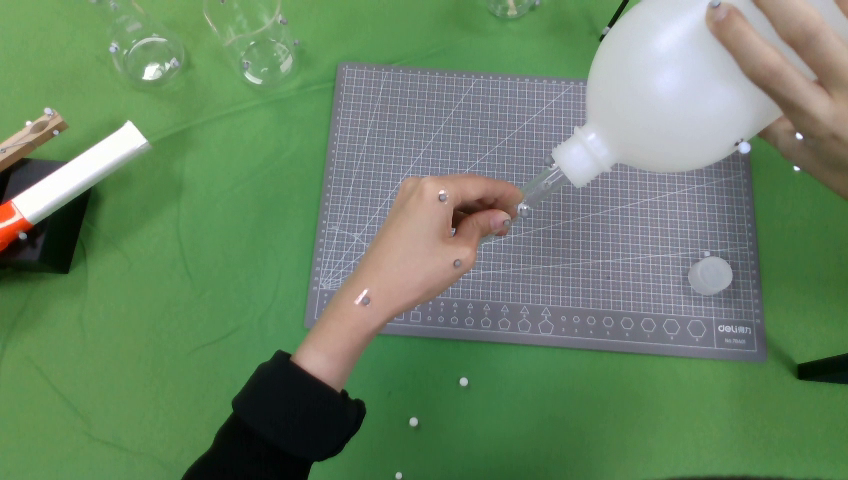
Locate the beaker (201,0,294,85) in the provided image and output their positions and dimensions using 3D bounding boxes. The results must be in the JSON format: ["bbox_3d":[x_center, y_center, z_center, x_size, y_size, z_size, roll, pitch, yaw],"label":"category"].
[{"bbox_3d":[-0.179,-0.214,0.628,0.074,0.101,0.083,19,74,6],"label":"beaker"}]

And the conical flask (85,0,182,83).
[{"bbox_3d":[-0.304,-0.222,0.615,0.075,0.122,0.075,0,73,0],"label":"conical flask"}]

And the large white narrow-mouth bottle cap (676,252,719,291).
[{"bbox_3d":[0.272,0.032,0.601,0.038,0.024,0.037,0,74,0],"label":"large white narrow-mouth bottle cap"}]

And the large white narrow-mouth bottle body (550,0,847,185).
[{"bbox_3d":[0.156,-0.102,0.339,0.195,0.102,0.101,-39,75,18],"label":"large white narrow-mouth bottle body"}]

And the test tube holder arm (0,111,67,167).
[{"bbox_3d":[-0.385,-0.092,0.579,0.088,0.015,0.010,-38,77,-12],"label":"test tube holder arm"}]

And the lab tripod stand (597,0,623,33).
[{"bbox_3d":[0.264,-0.289,0.640,0.148,0.132,0.147,1,72,-2],"label":"lab tripod stand"}]

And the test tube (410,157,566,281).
[{"bbox_3d":[0.041,-0.011,0.426,0.150,0.017,0.017,-38,71,34],"label":"test tube"}]

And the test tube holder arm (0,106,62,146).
[{"bbox_3d":[-0.423,-0.069,0.571,0.178,0.015,0.013,-40,77,-12],"label":"test tube holder arm"}]

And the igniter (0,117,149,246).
[{"bbox_3d":[-0.381,-0.023,0.555,0.276,0.025,0.057,-40,79,-15],"label":"igniter"}]

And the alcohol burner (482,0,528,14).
[{"bbox_3d":[0.095,-0.303,0.652,0.078,0.120,0.077,1,71,-2],"label":"alcohol burner"}]
